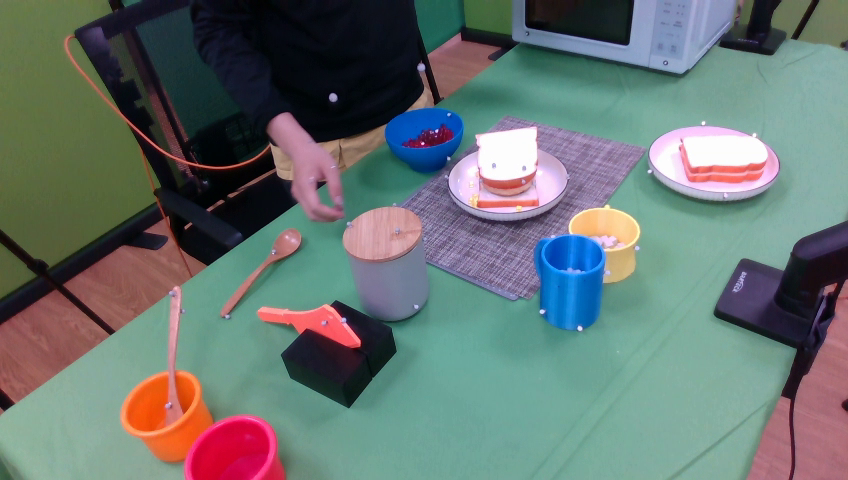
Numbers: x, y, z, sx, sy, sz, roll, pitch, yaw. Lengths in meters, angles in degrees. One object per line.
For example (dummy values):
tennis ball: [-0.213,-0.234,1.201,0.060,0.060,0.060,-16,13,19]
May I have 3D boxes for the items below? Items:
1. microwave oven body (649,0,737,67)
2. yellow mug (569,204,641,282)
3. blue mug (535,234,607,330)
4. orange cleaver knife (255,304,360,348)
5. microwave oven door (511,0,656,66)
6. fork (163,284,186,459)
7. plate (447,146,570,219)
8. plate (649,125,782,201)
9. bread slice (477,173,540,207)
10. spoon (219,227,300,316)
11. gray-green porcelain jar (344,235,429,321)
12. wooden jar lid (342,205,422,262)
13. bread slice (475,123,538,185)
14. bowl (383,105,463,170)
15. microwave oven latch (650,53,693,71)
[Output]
microwave oven body: [0.475,-0.602,1.411,0.438,0.261,0.327,23,50,32]
yellow mug: [0.268,-0.005,0.904,0.099,0.064,0.130,7,41,15]
blue mug: [0.190,0.048,0.824,0.082,0.106,0.115,-26,44,-21]
orange cleaver knife: [-0.161,0.115,0.813,0.210,0.077,0.012,-5,32,46]
microwave oven door: [0.351,-0.539,1.349,0.353,0.245,0.039,24,50,31]
fork: [-0.302,0.157,0.733,0.028,0.019,0.207,-3,84,15]
plate: [0.145,-0.098,1.046,0.209,0.038,0.208,-4,40,4]
plate: [0.493,-0.128,1.036,0.207,0.039,0.206,-4,41,4]
bread slice: [0.145,-0.105,1.057,0.105,0.019,0.131,-2,42,6]
spoon: [-0.260,0.046,0.954,0.041,0.021,0.194,26,48,11]
gray-green porcelain jar: [-0.049,0.042,0.849,0.106,0.127,0.105,-4,41,4]
wooden jar lid: [-0.055,-0.006,0.808,0.108,0.021,0.108,-6,41,6]
bread slice: [0.142,-0.144,1.008,0.107,0.018,0.133,-8,47,9]
bowl: [0.002,-0.185,1.142,0.151,0.077,0.150,-4,40,4]
microwave oven latch: [0.531,-0.386,1.301,0.078,0.029,0.030,25,51,33]
